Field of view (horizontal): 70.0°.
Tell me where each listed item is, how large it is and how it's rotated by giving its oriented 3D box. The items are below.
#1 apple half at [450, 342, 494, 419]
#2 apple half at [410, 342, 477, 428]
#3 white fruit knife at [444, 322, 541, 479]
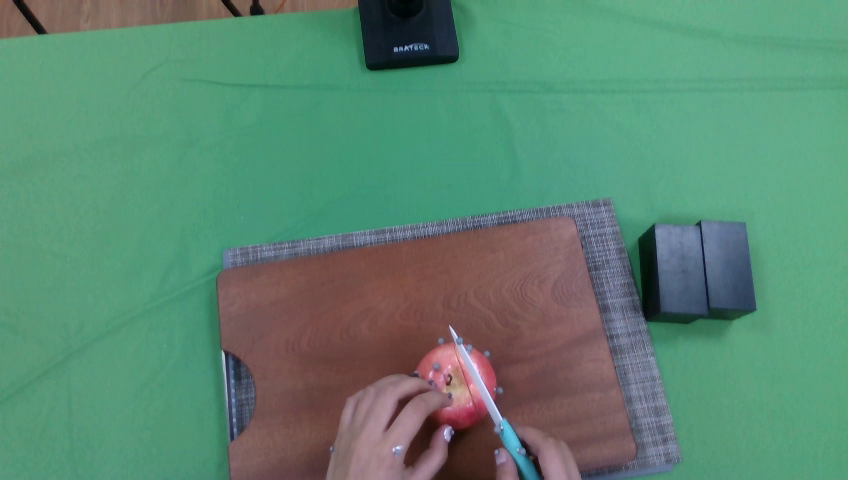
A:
[{"bbox_3d":[0.050,0.133,0.590,0.033,0.082,0.081,-20,73,-4],"label":"apple half"},{"bbox_3d":[0.014,0.145,0.587,0.053,0.075,0.080,-20,77,-3],"label":"apple half"},{"bbox_3d":[0.066,0.164,0.531,0.016,0.027,0.207,-28,89,-22],"label":"white fruit knife"}]
